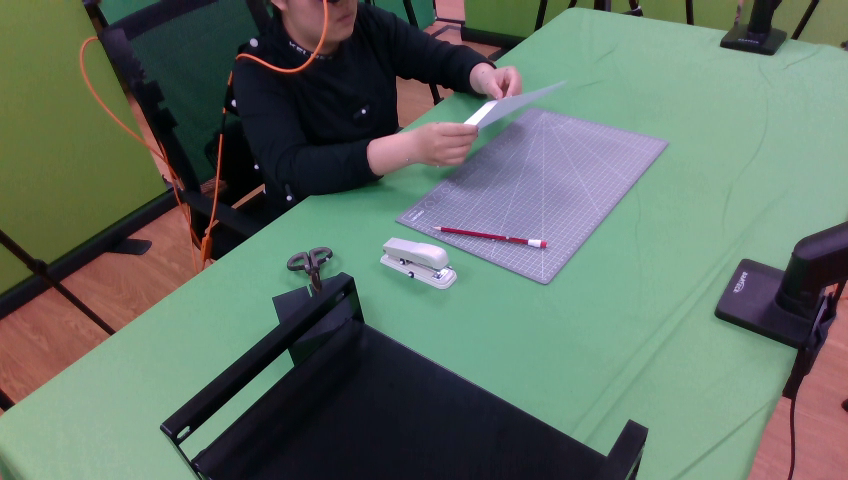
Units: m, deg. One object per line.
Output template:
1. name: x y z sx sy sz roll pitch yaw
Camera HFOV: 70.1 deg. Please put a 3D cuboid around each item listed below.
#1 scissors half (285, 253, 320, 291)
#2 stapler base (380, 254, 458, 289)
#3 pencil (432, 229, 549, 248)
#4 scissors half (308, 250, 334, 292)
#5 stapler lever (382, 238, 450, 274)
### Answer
1. scissors half: -0.178 0.049 0.909 0.040 0.013 0.174 -17 20 -19
2. stapler base: -0.009 0.037 0.934 0.129 0.024 0.041 20 44 31
3. pencil: 0.103 -0.004 0.970 0.193 0.012 0.012 7 42 18
4. scissors half: -0.159 0.046 0.913 0.040 0.013 0.174 -6 18 -4
5. stapler lever: -0.014 0.018 0.919 0.117 0.040 0.027 21 45 31
